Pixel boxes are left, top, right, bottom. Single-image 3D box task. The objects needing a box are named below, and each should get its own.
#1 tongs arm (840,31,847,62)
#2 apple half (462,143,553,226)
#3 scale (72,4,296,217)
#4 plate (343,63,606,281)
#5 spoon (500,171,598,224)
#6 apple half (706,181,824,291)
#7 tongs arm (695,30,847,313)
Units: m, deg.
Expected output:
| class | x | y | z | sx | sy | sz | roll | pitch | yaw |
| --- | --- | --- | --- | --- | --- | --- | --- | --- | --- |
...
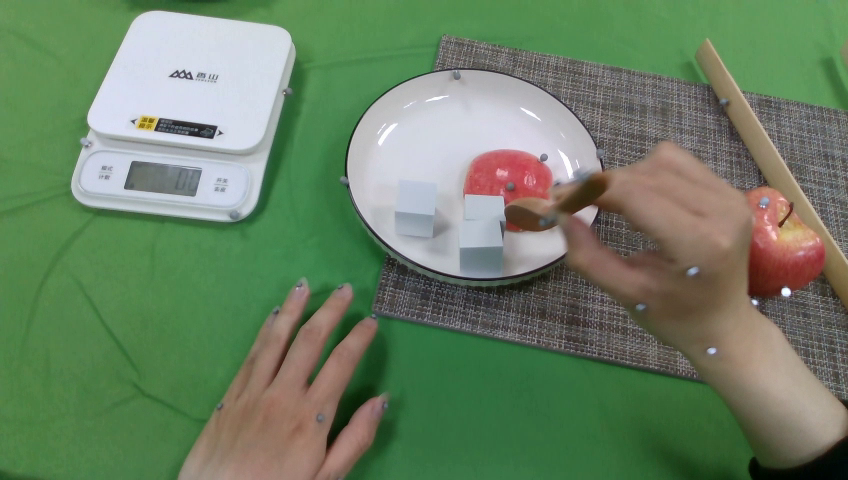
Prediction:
| class | x | y | z | sx | sy | sz | roll | pitch | yaw |
| --- | --- | --- | --- | --- | --- | --- | --- | --- | --- |
| tongs arm | 0.404 | -0.038 | 0.516 | 0.051 | 0.027 | 0.381 | 1 | 63 | -4 |
| apple half | 0.070 | -0.053 | 0.491 | 0.081 | 0.033 | 0.080 | 3 | 62 | -5 |
| scale | -0.199 | -0.116 | 0.517 | 0.149 | 0.032 | 0.199 | 7 | 62 | 0 |
| plate | 0.040 | -0.056 | 0.495 | 0.209 | 0.038 | 0.207 | 2 | 61 | -3 |
| spoon | 0.074 | -0.022 | 0.362 | 0.041 | 0.193 | 0.021 | 18 | 91 | 0 |
| apple half | 0.247 | 0.004 | 0.459 | 0.053 | 0.075 | 0.080 | -24 | 69 | -11 |
| tongs arm | 0.321 | -0.032 | 0.509 | 0.028 | 0.028 | 0.384 | -10 | 63 | -14 |
